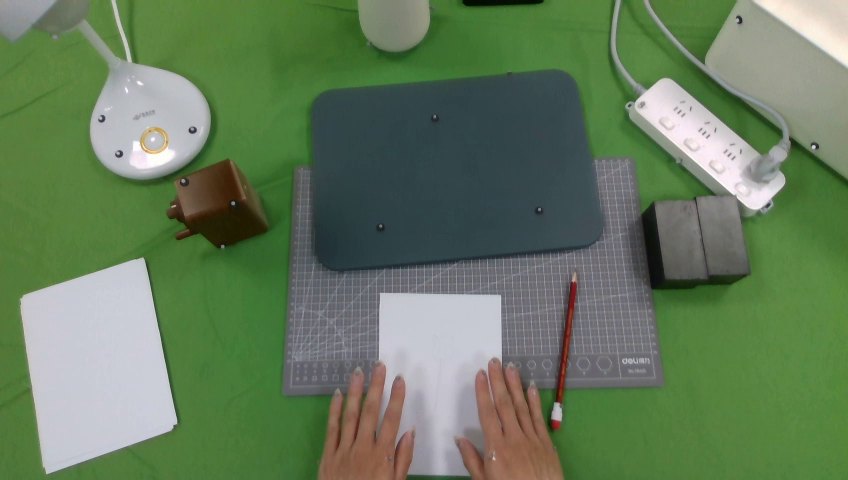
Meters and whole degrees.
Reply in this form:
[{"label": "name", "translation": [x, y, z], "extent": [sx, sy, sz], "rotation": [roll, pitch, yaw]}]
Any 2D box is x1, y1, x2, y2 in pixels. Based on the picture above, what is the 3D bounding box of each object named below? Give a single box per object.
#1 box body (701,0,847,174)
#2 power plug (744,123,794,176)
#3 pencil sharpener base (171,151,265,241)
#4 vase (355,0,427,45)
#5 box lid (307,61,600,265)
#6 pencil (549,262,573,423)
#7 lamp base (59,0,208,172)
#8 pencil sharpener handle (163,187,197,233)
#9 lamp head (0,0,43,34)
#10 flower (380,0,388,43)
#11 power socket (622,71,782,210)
[{"label": "box body", "translation": [0.573, -0.237, 0.752], "extent": [0.362, 0.161, 0.254], "rotation": [43, 78, 13]}, {"label": "power plug", "translation": [0.434, -0.106, 0.757], "extent": [0.072, 0.053, 0.035], "rotation": [-29, 72, -12]}, {"label": "pencil sharpener base", "translation": [-0.248, -0.050, 0.734], "extent": [0.077, 0.107, 0.061], "rotation": [-22, 74, -5]}, {"label": "vase", "translation": [-0.046, -0.342, 0.773], "extent": [0.098, 0.201, 0.097], "rotation": [0, 71, 0]}, {"label": "box lid", "translation": [0.035, -0.107, 0.797], "extent": [0.372, 0.015, 0.261], "rotation": [-6, 73, -1]}, {"label": "pencil", "translation": [0.166, 0.119, 0.725], "extent": [0.012, 0.012, 0.193], "rotation": [9, 75, 4]}, {"label": "lamp base", "translation": [-0.379, -0.198, 0.742], "extent": [0.160, 0.181, 0.178], "rotation": [-32, 72, -9]}, {"label": "pencil sharpener handle", "translation": [-0.294, -0.031, 0.716], "extent": [0.030, 0.068, 0.035], "rotation": [-22, 61, -5]}, {"label": "lamp head", "translation": [-0.342, -0.243, 0.468], "extent": [0.112, 0.124, 0.111], "rotation": [-27, 39, 25]}, {"label": "flower", "translation": [-0.038, -0.381, 0.699], "extent": [0.044, 0.364, 0.038], "rotation": [-25, 62, -23]}, {"label": "power socket", "translation": [0.362, -0.132, 0.790], "extent": [0.072, 0.033, 0.225], "rotation": [-40, 76, -11]}]
